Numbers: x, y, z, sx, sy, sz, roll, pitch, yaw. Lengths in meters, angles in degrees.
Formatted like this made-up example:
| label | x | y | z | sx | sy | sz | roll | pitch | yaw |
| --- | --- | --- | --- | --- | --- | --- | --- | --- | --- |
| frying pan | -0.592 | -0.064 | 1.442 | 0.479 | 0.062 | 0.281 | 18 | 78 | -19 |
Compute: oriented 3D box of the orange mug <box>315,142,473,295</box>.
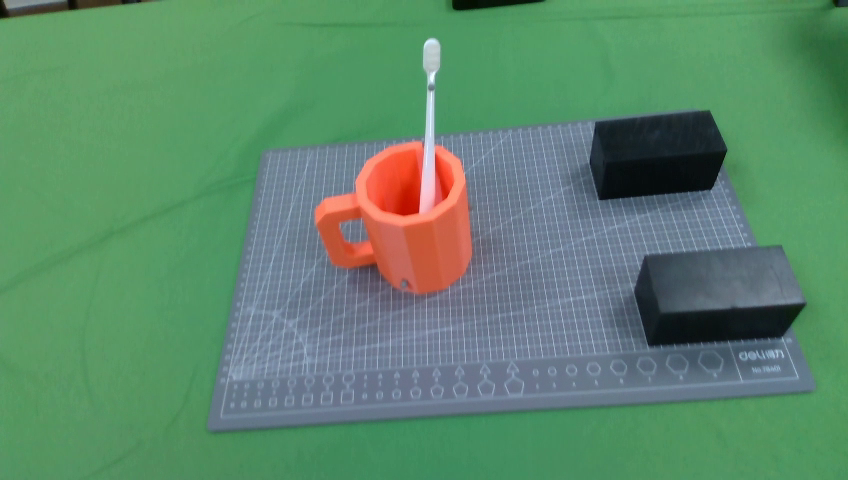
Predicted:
| label | x | y | z | sx | sy | sz | roll | pitch | yaw |
| --- | --- | --- | --- | --- | --- | --- | --- | --- | --- |
| orange mug | -0.022 | -0.014 | 0.500 | 0.126 | 0.102 | 0.082 | -9 | 53 | -4 |

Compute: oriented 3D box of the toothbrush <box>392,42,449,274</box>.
| label | x | y | z | sx | sy | sz | roll | pitch | yaw |
| --- | --- | --- | --- | --- | --- | --- | --- | --- | --- |
| toothbrush | -0.004 | -0.060 | 0.470 | 0.016 | 0.182 | 0.014 | 20 | 16 | 37 |
